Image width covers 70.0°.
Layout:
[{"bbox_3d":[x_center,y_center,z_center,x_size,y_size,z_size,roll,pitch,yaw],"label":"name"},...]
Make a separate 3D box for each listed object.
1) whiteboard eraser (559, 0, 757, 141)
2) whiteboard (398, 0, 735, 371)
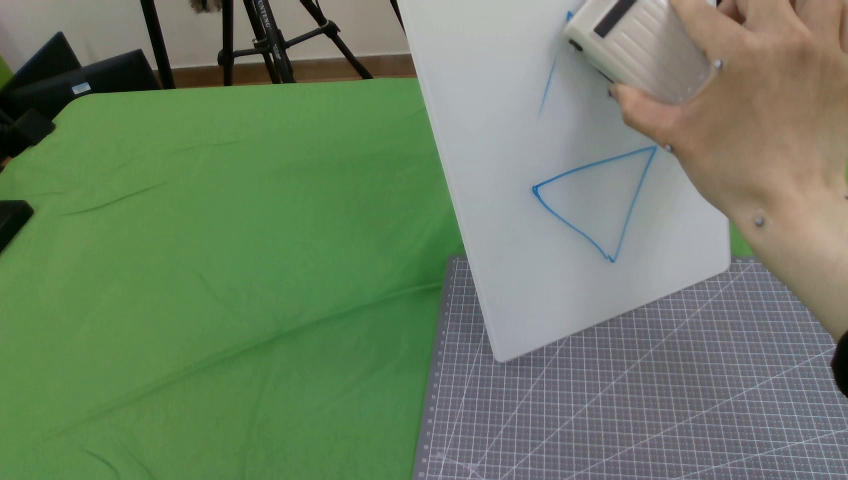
[{"bbox_3d":[0.144,-0.117,0.378,0.113,0.055,0.042,40,17,-1],"label":"whiteboard eraser"},{"bbox_3d":[0.102,-0.092,0.484,0.217,0.308,0.142,-20,25,-7],"label":"whiteboard"}]
